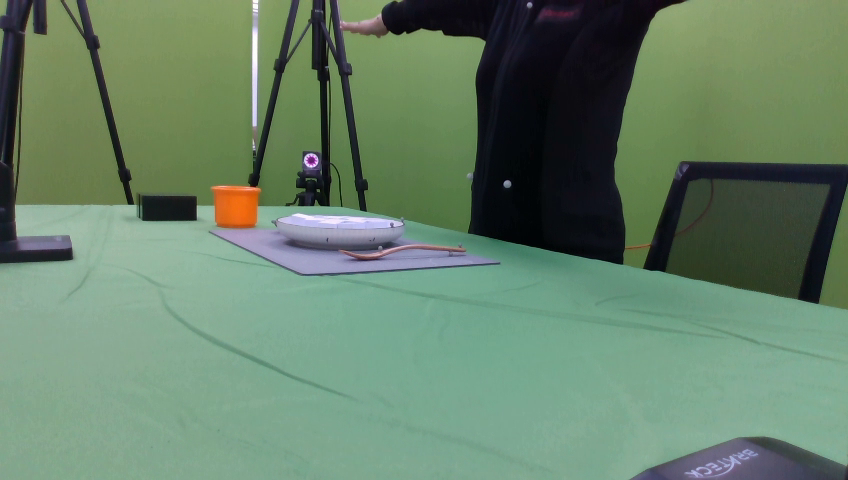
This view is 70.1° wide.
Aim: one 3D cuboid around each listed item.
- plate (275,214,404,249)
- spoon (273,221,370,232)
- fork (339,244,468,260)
[{"bbox_3d":[-0.135,-0.013,0.982,0.208,0.039,0.207,3,7,0],"label":"plate"},{"bbox_3d":[-0.187,-0.027,1.132,0.195,0.021,0.041,-3,-8,-34],"label":"spoon"},{"bbox_3d":[-0.024,0.016,0.865,0.208,0.018,0.028,-4,3,-31],"label":"fork"}]
